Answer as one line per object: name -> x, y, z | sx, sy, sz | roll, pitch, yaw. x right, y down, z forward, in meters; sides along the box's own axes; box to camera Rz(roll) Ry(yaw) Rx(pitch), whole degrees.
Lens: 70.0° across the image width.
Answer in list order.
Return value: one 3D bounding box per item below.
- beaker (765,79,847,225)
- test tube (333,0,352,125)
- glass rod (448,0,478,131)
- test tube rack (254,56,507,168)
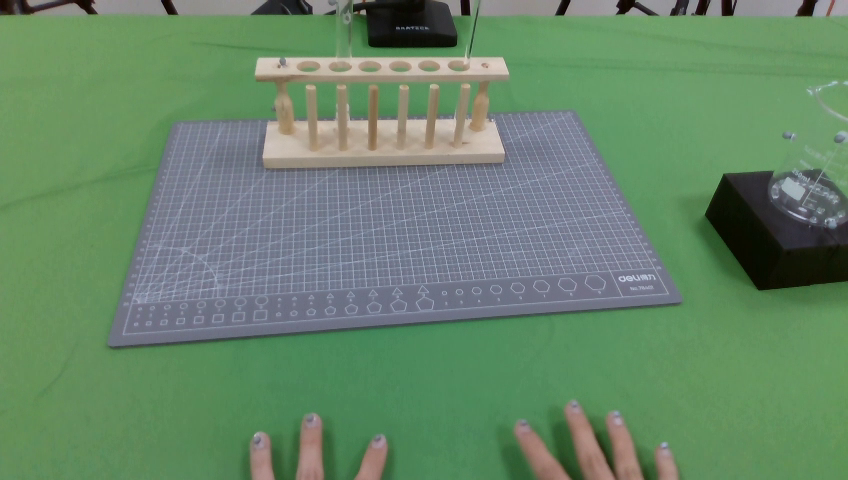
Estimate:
beaker -> 0.332, -0.070, 0.495 | 0.074, 0.101, 0.083 | -27, 51, -28
test tube -> -0.079, -0.175, 0.582 | 0.017, 0.151, 0.017 | 5, 42, -4
glass rod -> 0.040, -0.187, 0.578 | 0.008, 0.201, 0.008 | 5, 46, -5
test tube rack -> -0.041, -0.129, 0.607 | 0.243, 0.086, 0.066 | -2, 44, -7
